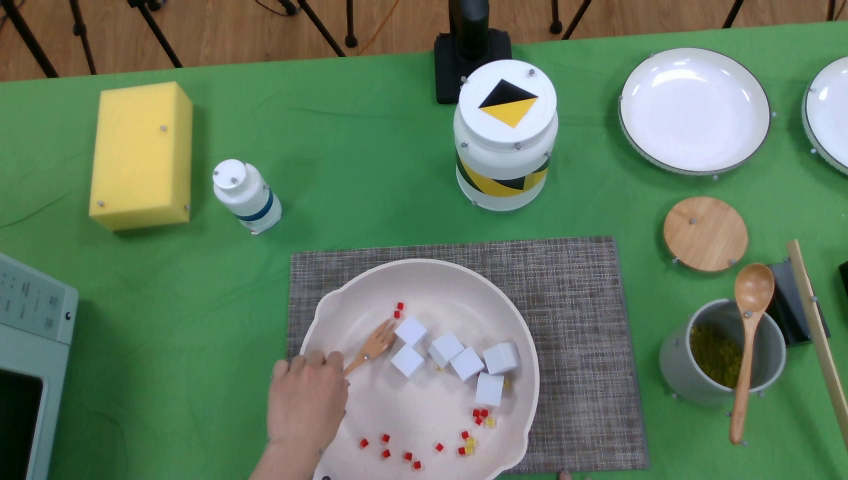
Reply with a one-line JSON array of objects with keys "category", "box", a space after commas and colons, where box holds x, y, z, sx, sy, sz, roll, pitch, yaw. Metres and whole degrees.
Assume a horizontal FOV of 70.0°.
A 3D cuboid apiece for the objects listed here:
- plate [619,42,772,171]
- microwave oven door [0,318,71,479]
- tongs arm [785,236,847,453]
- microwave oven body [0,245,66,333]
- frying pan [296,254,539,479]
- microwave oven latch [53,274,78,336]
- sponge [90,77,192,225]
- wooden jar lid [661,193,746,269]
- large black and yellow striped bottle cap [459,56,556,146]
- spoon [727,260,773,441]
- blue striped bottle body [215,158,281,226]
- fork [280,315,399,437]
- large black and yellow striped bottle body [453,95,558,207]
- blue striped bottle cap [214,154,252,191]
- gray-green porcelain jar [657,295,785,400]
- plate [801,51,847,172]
[{"category": "plate", "box": [0.384, -0.189, 0.872, 0.207, 0.039, 0.206, -1, 70, 4]}, {"category": "microwave oven door", "box": [-0.495, 0.257, 0.644, 0.039, 0.245, 0.353, -3, 70, 4]}, {"category": "tongs arm", "box": [0.492, 0.179, 0.694, 0.051, 0.026, 0.383, -10, 82, -3]}, {"category": "microwave oven body", "box": [-0.641, 0.226, 0.671, 0.326, 0.262, 0.438, -2, 70, 3]}, {"category": "frying pan", "box": [-0.074, 0.236, 0.712, 0.305, 0.103, 0.487, 37, 69, 16]}, {"category": "microwave oven latch", "box": [-0.489, 0.087, 0.814, 0.030, 0.030, 0.078, 0, 71, 4]}, {"category": "sponge", "box": [-0.413, -0.132, 0.894, 0.118, 0.061, 0.205, -7, 71, 1]}, {"category": "wooden jar lid", "box": [0.375, -0.011, 0.818, 0.108, 0.021, 0.107, -1, 71, 4]}, {"category": "large black and yellow striped bottle cap", "box": [0.099, -0.166, 0.716, 0.115, 0.019, 0.114, -1, 71, 4]}, {"category": "spoon", "box": [0.340, 0.114, 0.643, 0.041, 0.022, 0.193, 14, 75, 5]}, {"category": "blue striped bottle body", "box": [-0.242, -0.069, 0.828, 0.063, 0.121, 0.062, -1, 69, 4]}, {"category": "fork", "box": [-0.101, 0.164, 0.749, 0.028, 0.019, 0.207, 39, 52, 11]}, {"category": "large black and yellow striped bottle body", "box": [0.104, -0.136, 0.795, 0.131, 0.185, 0.130, -1, 69, 4]}, {"category": "blue striped bottle cap", "box": [-0.247, -0.087, 0.781, 0.044, 0.021, 0.044, -1, 72, 4]}, {"category": "gray-green porcelain jar", "box": [0.340, 0.131, 0.712, 0.106, 0.127, 0.105, -1, 70, 4]}, {"category": "plate", "box": [0.633, -0.171, 0.846, 0.209, 0.038, 0.207, -1, 70, 4]}]
